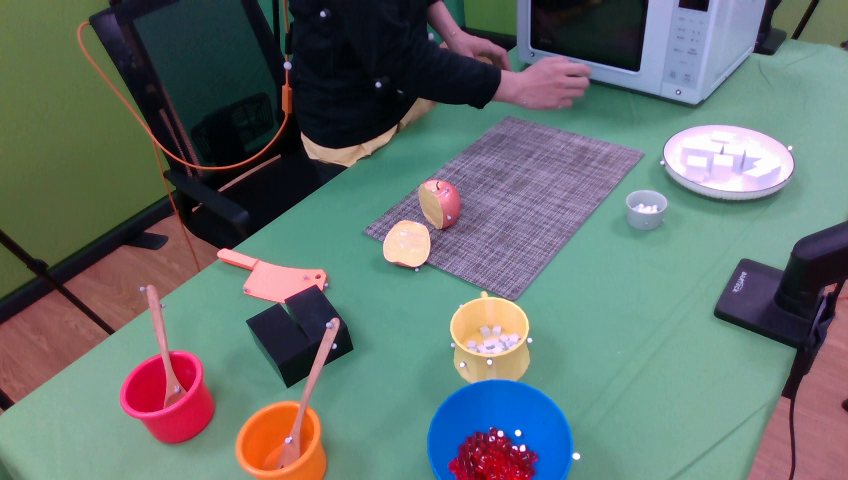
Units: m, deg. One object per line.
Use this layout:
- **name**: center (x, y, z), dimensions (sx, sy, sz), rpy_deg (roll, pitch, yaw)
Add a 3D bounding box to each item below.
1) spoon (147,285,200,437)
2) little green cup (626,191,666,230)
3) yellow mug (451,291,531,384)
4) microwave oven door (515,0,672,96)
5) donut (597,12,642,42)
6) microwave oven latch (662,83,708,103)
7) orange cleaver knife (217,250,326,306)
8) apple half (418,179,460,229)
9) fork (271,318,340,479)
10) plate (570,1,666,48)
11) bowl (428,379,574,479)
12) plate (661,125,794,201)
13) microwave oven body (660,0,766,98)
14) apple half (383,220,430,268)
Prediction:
- **spoon**: center (-0.318, 0.148, 0.754), dimensions (0.042, 0.021, 0.193), rpy_deg (-15, 85, -9)
- **little green cup**: center (0.352, -0.046, 0.963), dimensions (0.061, 0.039, 0.061), rpy_deg (-4, 40, 4)
- **yellow mug**: center (0.085, 0.120, 0.786), dimensions (0.100, 0.064, 0.130), rpy_deg (-7, 39, 1)
- **microwave oven door**: center (0.343, -0.454, 1.259), dimensions (0.353, 0.245, 0.039), rpy_deg (26, 51, 33)
- **donut**: center (0.436, -0.476, 1.347), dimensions (0.099, 0.048, 0.098), rpy_deg (-12, 31, 8)
- **microwave oven latch**: center (0.518, -0.297, 1.204), dimensions (0.078, 0.029, 0.030), rpy_deg (28, 52, 36)
- **orange cleaver knife**: center (-0.248, 0.059, 0.945), dimensions (0.210, 0.012, 0.077), rpy_deg (12, 49, 20)
- **apple half**: center (0.032, -0.062, 0.998), dimensions (0.053, 0.075, 0.080), rpy_deg (-23, 39, -23)
- **fork**: center (-0.132, 0.186, 0.676), dimensions (0.028, 0.019, 0.207), rpy_deg (18, 90, 28)
- **plate**: center (0.437, -0.485, 1.370), dimensions (0.209, 0.038, 0.208), rpy_deg (-4, 42, 4)
- **bowl**: center (0.082, 0.233, 0.644), dimensions (0.151, 0.077, 0.150), rpy_deg (-4, 39, 4)
- **plate**: center (0.514, -0.128, 1.035), dimensions (0.207, 0.039, 0.206), rpy_deg (-4, 40, 4)
- **microwave oven body**: center (0.472, -0.513, 1.317), dimensions (0.438, 0.261, 0.327), rpy_deg (26, 51, 34)
- **apple half**: center (-0.022, 0.009, 0.948), dimensions (0.081, 0.033, 0.081), rpy_deg (-4, 73, 13)
